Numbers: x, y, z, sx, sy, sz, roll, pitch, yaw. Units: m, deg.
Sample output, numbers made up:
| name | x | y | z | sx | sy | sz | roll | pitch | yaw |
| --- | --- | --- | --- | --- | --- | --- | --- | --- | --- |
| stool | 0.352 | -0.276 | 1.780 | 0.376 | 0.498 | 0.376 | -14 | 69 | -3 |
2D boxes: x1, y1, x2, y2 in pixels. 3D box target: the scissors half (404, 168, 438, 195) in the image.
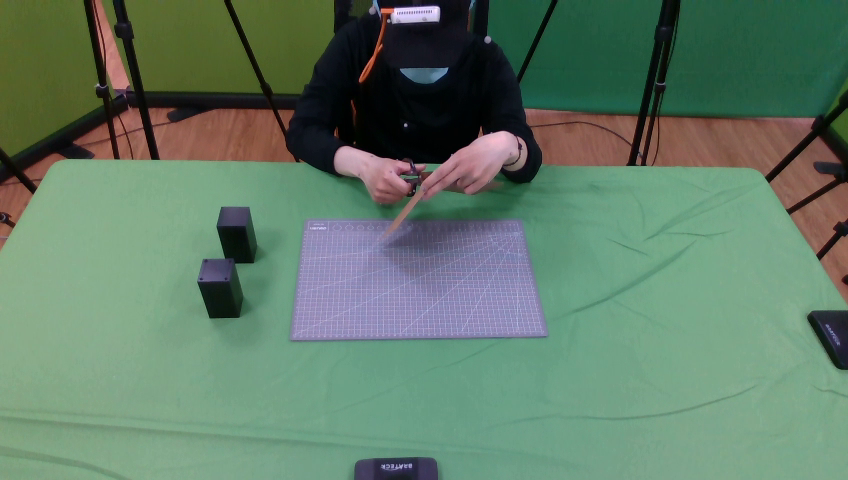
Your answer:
| name | x | y | z | sx | sy | sz | roll | pitch | yaw |
| --- | --- | --- | --- | --- | --- | --- | --- | --- | --- |
| scissors half | -0.007 | -0.118 | 1.173 | 0.013 | 0.175 | 0.040 | -2 | 83 | -21 |

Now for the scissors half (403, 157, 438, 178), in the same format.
| name | x | y | z | sx | sy | sz | roll | pitch | yaw |
| --- | --- | --- | --- | --- | --- | --- | --- | --- | --- |
| scissors half | -0.008 | -0.138 | 1.173 | 0.013 | 0.040 | 0.174 | -8 | 13 | -21 |

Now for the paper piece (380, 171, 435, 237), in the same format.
| name | x | y | z | sx | sy | sz | roll | pitch | yaw |
| --- | --- | --- | --- | --- | --- | --- | --- | --- | --- |
| paper piece | -0.037 | -0.063 | 1.140 | 0.004 | 0.135 | 0.135 | 39 | 68 | -4 |

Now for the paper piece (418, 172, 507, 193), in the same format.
| name | x | y | z | sx | sy | sz | roll | pitch | yaw |
| --- | --- | --- | --- | --- | --- | --- | --- | --- | --- |
| paper piece | 0.072 | -0.110 | 1.192 | 0.138 | 0.136 | 0.008 | -4 | 83 | -21 |
